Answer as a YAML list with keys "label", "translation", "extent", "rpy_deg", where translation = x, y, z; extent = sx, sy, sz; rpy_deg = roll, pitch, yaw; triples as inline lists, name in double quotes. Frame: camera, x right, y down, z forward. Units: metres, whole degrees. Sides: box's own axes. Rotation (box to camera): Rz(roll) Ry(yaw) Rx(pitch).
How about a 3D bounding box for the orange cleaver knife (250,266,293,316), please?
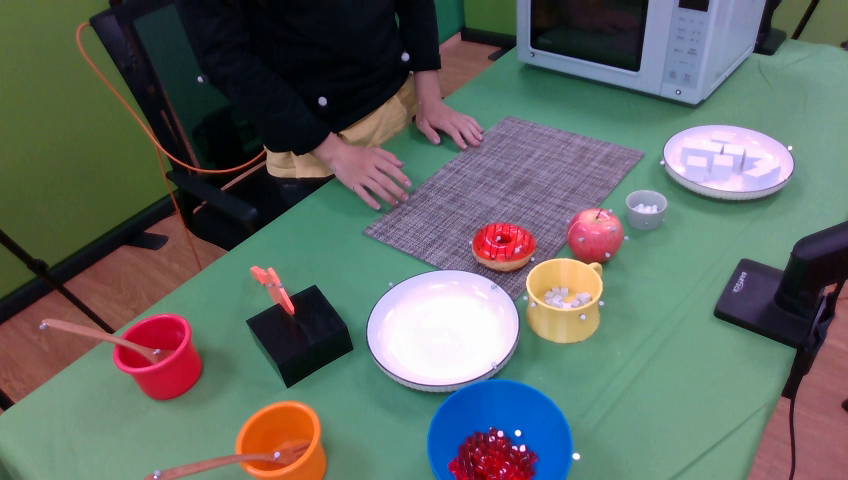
- label: "orange cleaver knife"
  translation: [-0.221, 0.071, 0.873]
  extent: [0.012, 0.077, 0.210]
  rpy_deg: [-25, 11, -21]

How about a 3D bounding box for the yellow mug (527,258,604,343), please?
- label: "yellow mug"
  translation: [0.201, 0.073, 0.825]
  extent: [0.131, 0.064, 0.099]
  rpy_deg: [-32, 46, -27]

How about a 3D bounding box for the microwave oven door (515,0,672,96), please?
- label: "microwave oven door"
  translation: [0.343, -0.454, 1.259]
  extent: [0.353, 0.245, 0.039]
  rpy_deg: [26, 51, 33]

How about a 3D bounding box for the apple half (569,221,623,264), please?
- label: "apple half"
  translation: [0.251, 0.010, 0.884]
  extent: [0.081, 0.081, 0.032]
  rpy_deg: [3, 37, 12]

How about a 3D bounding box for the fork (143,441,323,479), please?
- label: "fork"
  translation: [-0.189, 0.231, 0.631]
  extent: [0.028, 0.018, 0.209]
  rpy_deg: [35, 13, 37]

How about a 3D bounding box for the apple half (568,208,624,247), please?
- label: "apple half"
  translation: [0.259, -0.014, 0.914]
  extent: [0.080, 0.075, 0.053]
  rpy_deg: [0, 36, 15]

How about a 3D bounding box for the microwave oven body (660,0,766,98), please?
- label: "microwave oven body"
  translation: [0.472, -0.513, 1.317]
  extent: [0.438, 0.261, 0.327]
  rpy_deg: [26, 51, 34]

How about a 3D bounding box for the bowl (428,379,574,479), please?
- label: "bowl"
  translation: [0.082, 0.233, 0.644]
  extent: [0.151, 0.077, 0.150]
  rpy_deg: [-4, 40, 4]

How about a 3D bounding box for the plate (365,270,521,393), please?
- label: "plate"
  translation: [0.027, 0.123, 0.813]
  extent: [0.209, 0.038, 0.208]
  rpy_deg: [-4, 40, 4]

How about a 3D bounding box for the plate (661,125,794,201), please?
- label: "plate"
  translation: [0.513, -0.128, 1.035]
  extent: [0.207, 0.039, 0.206]
  rpy_deg: [-4, 40, 4]

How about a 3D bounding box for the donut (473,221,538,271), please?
- label: "donut"
  translation: [0.124, 0.008, 0.923]
  extent: [0.099, 0.048, 0.098]
  rpy_deg: [-4, 38, 3]

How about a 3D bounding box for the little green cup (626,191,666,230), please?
- label: "little green cup"
  translation: [0.352, -0.046, 0.963]
  extent: [0.061, 0.039, 0.061]
  rpy_deg: [-4, 40, 4]

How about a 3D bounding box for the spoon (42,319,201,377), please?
- label: "spoon"
  translation: [-0.385, 0.135, 0.779]
  extent: [0.195, 0.021, 0.041]
  rpy_deg: [28, 37, -26]

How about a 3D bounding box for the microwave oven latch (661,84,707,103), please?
- label: "microwave oven latch"
  translation: [0.517, -0.296, 1.204]
  extent: [0.078, 0.029, 0.030]
  rpy_deg: [26, 52, 35]
